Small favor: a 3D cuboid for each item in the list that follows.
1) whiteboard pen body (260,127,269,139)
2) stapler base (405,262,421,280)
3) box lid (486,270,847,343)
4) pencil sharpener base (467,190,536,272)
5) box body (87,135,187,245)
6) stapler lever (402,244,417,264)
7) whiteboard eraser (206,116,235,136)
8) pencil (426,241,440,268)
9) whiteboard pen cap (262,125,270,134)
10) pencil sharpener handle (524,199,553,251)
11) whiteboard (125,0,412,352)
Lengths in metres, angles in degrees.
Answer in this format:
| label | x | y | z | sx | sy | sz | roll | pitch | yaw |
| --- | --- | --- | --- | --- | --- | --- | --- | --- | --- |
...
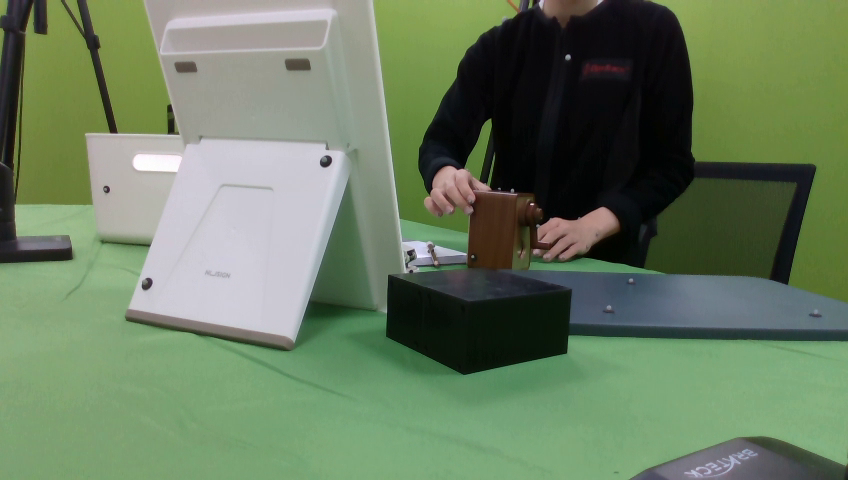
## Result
| label | x | y | z | sx | sy | sz | roll | pitch | yaw |
| --- | --- | --- | --- | --- | --- | --- | --- | --- | --- |
| whiteboard pen body | -0.366 | -0.247 | 1.392 | 0.017 | 0.017 | 0.140 | 0 | 3 | -17 |
| stapler base | -0.069 | 0.027 | 0.759 | 0.130 | 0.024 | 0.041 | 9 | 13 | 23 |
| box lid | 0.267 | 0.066 | 0.643 | 0.372 | 0.015 | 0.263 | 2 | 7 | -5 |
| pencil sharpener base | 0.106 | -0.011 | 0.808 | 0.076 | 0.107 | 0.061 | 8 | 8 | 33 |
| box body | -0.338 | -0.088 | 1.022 | 0.254 | 0.160 | 0.364 | 3 | 7 | 9 |
| stapler lever | -0.066 | 0.003 | 0.755 | 0.117 | 0.040 | 0.027 | 9 | 13 | 23 |
| whiteboard eraser | -0.450 | -0.252 | 1.335 | 0.056 | 0.042 | 0.112 | 1 | 7 | -22 |
| pencil | 0.013 | 0.021 | 0.885 | 0.012 | 0.012 | 0.194 | 2 | 9 | -3 |
| whiteboard pen cap | -0.349 | -0.244 | 1.337 | 0.018 | 0.018 | 0.033 | 0 | 2 | -17 |
| pencil sharpener handle | 0.151 | -0.018 | 0.782 | 0.030 | 0.068 | 0.036 | 8 | 23 | 33 |
| whiteboard | -0.151 | -0.049 | 0.472 | 0.216 | 0.305 | 0.144 | 6 | 27 | 24 |
